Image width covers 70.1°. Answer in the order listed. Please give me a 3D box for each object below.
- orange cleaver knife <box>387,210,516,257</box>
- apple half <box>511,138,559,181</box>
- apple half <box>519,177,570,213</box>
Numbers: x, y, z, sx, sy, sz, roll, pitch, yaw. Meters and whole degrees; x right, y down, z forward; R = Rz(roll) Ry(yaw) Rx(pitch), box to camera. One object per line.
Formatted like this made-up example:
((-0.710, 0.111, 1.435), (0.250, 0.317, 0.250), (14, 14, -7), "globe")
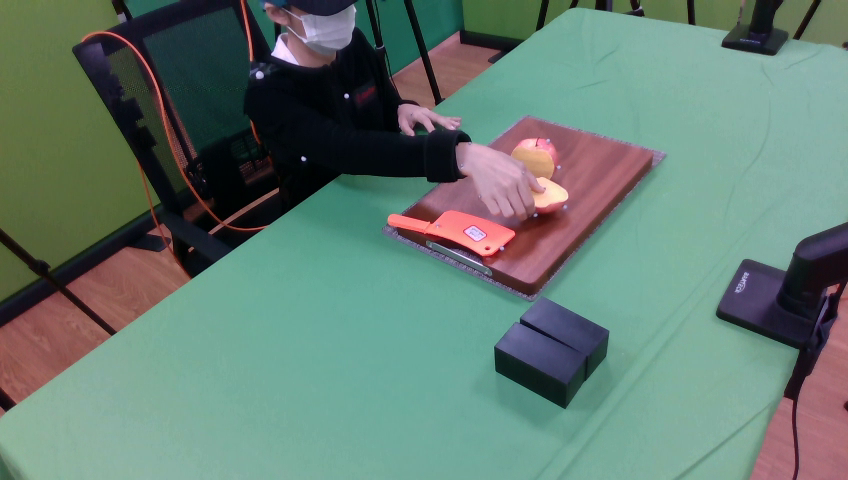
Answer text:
((0.040, -0.020, 0.953), (0.210, 0.012, 0.077), (16, 49, 29), "orange cleaver knife")
((0.192, -0.137, 1.024), (0.080, 0.075, 0.053), (11, 40, 28), "apple half")
((0.187, -0.066, 0.962), (0.081, 0.033, 0.081), (2, 40, -1), "apple half")
